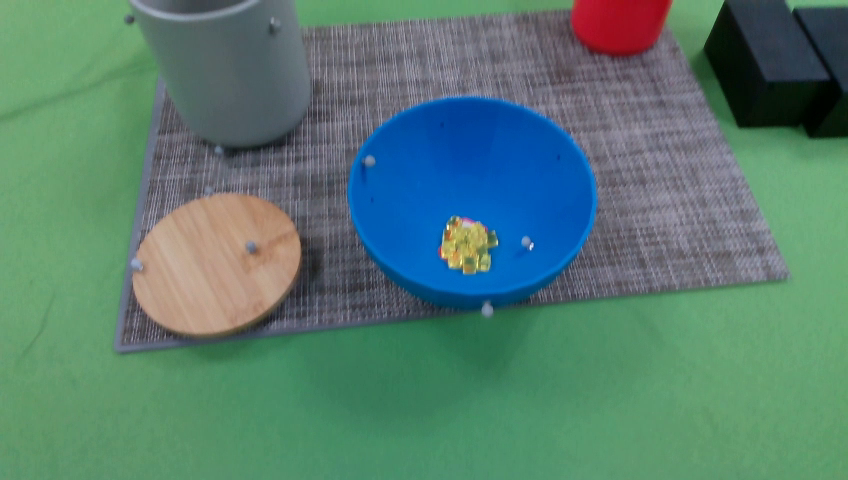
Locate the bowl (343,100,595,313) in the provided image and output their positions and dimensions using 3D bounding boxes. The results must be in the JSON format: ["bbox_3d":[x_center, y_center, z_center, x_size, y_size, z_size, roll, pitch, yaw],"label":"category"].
[{"bbox_3d":[0.027,-0.010,0.394,0.151,0.077,0.150,0,57,0],"label":"bowl"}]

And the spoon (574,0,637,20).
[{"bbox_3d":[0.207,-0.219,0.492,0.022,0.193,0.041,48,58,-24],"label":"spoon"}]

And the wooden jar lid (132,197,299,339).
[{"bbox_3d":[-0.138,0.019,0.408,0.108,0.021,0.107,0,56,1],"label":"wooden jar lid"}]

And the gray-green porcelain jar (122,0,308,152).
[{"bbox_3d":[-0.144,-0.137,0.446,0.106,0.127,0.105,0,56,0],"label":"gray-green porcelain jar"}]
